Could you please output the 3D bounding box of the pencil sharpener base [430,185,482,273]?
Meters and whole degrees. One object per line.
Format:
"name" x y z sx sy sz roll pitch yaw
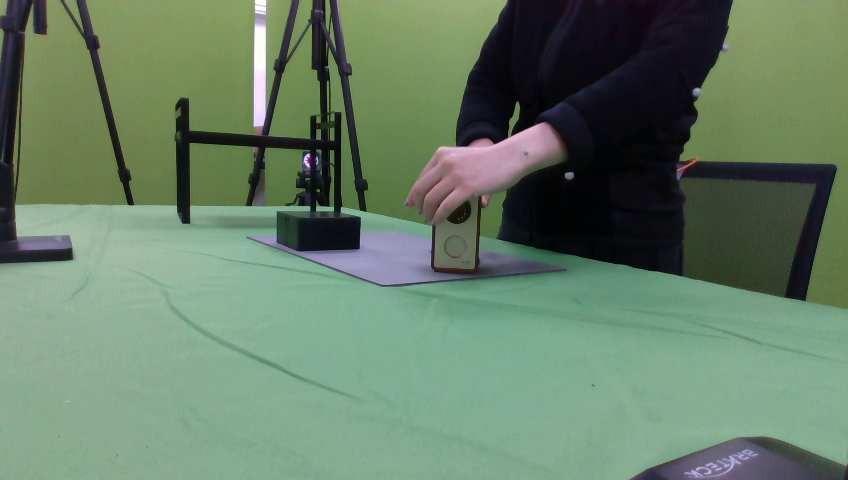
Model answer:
"pencil sharpener base" 0.041 -0.015 0.783 0.061 0.107 0.077 3 8 4

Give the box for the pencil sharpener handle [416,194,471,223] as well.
"pencil sharpener handle" 0.023 -0.041 0.730 0.068 0.036 0.030 16 9 2

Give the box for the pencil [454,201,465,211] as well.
"pencil" 0.050 -0.049 0.871 0.012 0.012 0.194 3 5 5
